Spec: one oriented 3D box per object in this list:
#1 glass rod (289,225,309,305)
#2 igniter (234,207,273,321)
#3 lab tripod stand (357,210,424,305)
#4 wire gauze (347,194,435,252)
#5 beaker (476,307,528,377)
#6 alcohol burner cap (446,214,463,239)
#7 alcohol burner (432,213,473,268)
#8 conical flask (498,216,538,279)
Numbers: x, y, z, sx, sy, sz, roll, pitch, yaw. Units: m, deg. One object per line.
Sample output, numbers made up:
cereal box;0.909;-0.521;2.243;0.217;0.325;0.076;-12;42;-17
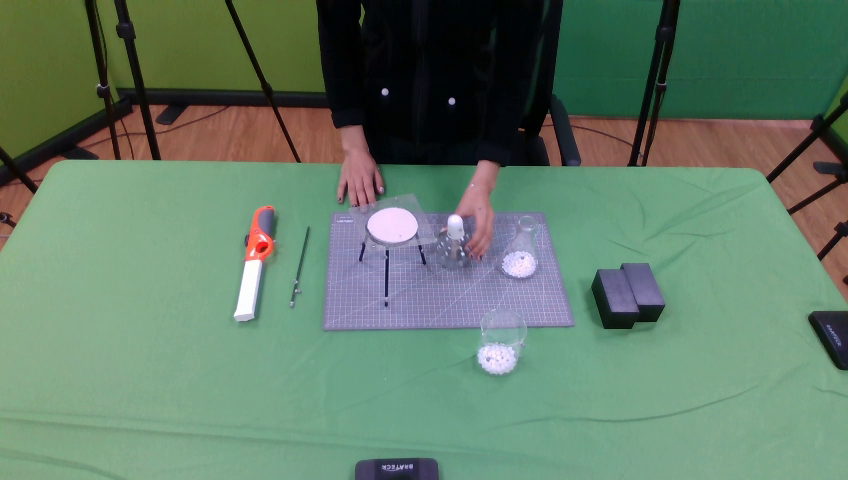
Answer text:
glass rod;-0.235;0.042;1.149;0.008;0.008;0.198;3;46;-1
igniter;-0.318;0.035;1.137;0.057;0.025;0.274;-8;46;3
lab tripod stand;-0.061;0.020;1.094;0.148;0.132;0.147;3;44;-2
wire gauze;-0.058;-0.029;1.048;0.125;0.011;0.120;-12;48;-16
beaker;0.122;0.171;0.991;0.084;0.101;0.073;-34;56;-31
alcohol burner cap;0.055;-0.027;1.113;0.034;0.048;0.033;-3;52;4
alcohol burner;0.055;-0.004;1.140;0.078;0.120;0.077;1;47;0
conical flask;0.183;0.010;1.132;0.075;0.122;0.075;2;46;-2
